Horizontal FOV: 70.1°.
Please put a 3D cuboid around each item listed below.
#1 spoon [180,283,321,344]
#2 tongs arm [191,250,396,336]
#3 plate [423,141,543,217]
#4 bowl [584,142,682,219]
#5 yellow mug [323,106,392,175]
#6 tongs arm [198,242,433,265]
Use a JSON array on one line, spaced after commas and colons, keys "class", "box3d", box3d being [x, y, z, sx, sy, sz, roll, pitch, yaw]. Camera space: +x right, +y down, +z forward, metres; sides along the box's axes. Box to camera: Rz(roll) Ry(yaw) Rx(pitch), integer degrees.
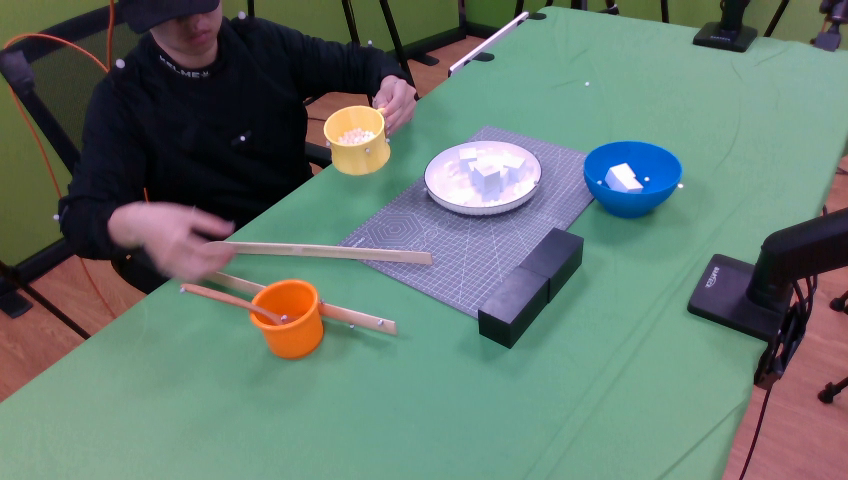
[{"class": "spoon", "box3d": [-0.223, 0.093, 0.794, 0.021, 0.195, 0.041, -42, 34, 29]}, {"class": "tongs arm", "box3d": [-0.204, 0.074, 0.902, 0.382, 0.026, 0.051, 11, 44, 22]}, {"class": "plate", "box3d": [0.103, -0.104, 1.059, 0.207, 0.039, 0.206, -4, 40, 4]}, {"class": "bowl", "box3d": [0.333, -0.087, 0.980, 0.151, 0.077, 0.150, -4, 40, 3]}, {"class": "yellow mug", "box3d": [-0.100, -0.173, 0.998, 0.099, 0.064, 0.131, 33, 60, 28]}, {"class": "tongs arm", "box3d": [-0.176, 0.024, 0.960, 0.386, 0.028, 0.028, 2, 45, 12]}]
